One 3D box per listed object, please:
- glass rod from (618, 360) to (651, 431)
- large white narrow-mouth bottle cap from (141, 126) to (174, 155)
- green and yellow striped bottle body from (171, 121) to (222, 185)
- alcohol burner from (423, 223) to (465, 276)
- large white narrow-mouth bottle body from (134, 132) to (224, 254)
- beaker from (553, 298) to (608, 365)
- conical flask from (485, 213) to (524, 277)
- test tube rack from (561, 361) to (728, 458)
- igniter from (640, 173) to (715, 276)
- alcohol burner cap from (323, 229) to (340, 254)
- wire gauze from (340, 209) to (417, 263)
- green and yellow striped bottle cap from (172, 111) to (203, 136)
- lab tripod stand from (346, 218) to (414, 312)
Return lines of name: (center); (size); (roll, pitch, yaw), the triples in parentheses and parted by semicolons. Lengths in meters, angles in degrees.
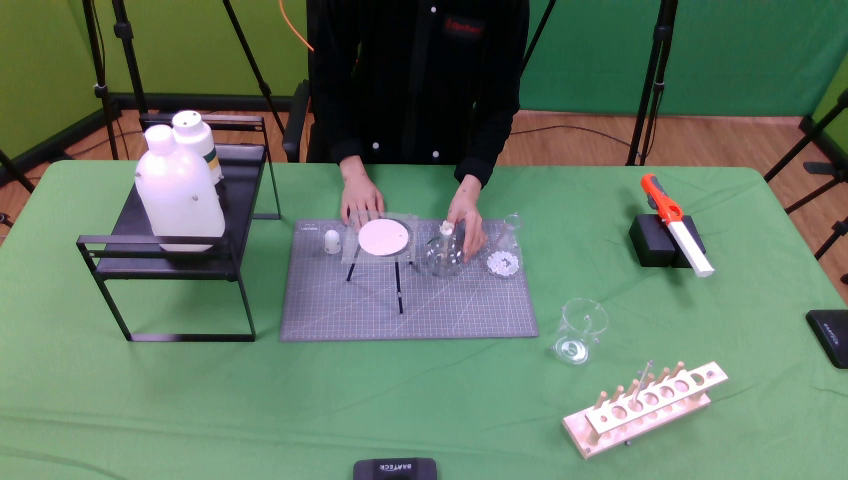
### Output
glass rod: (0.298, 0.227, 0.865); (0.008, 0.201, 0.008); (-1, 48, 2)
large white narrow-mouth bottle cap: (-0.356, -0.133, 0.811); (0.038, 0.024, 0.037); (2, 48, -2)
green and yellow striped bottle body: (-0.375, -0.149, 0.995); (0.063, 0.120, 0.063); (2, 46, -2)
alcohol burner: (0.038, 0.012, 1.121); (0.078, 0.120, 0.077); (1, 49, -1)
large white narrow-mouth bottle body: (-0.358, -0.075, 0.875); (0.102, 0.195, 0.101); (1, 48, -1)
beaker: (0.260, 0.154, 1.015); (0.073, 0.101, 0.084); (37, 54, 27)
conical flask: (0.157, 0.007, 1.129); (0.075, 0.122, 0.075); (2, 46, -2)
test tube rack: (0.341, 0.248, 0.940); (0.243, 0.085, 0.066); (-15, 49, -18)
igniter: (0.495, -0.039, 1.204); (0.057, 0.025, 0.274); (-2, 47, -12)
alcohol burner cap: (-0.179, 0.001, 1.165); (0.034, 0.048, 0.033); (2, 45, -2)
wire gauze: (-0.074, -0.007, 1.023); (0.121, 0.011, 0.124); (3, 46, 0)
green and yellow striped bottle cap: (-0.374, -0.185, 0.958); (0.045, 0.020, 0.045); (4, 46, -4)
lab tripod stand: (-0.070, 0.037, 1.075); (0.148, 0.132, 0.147); (1, 48, -1)
